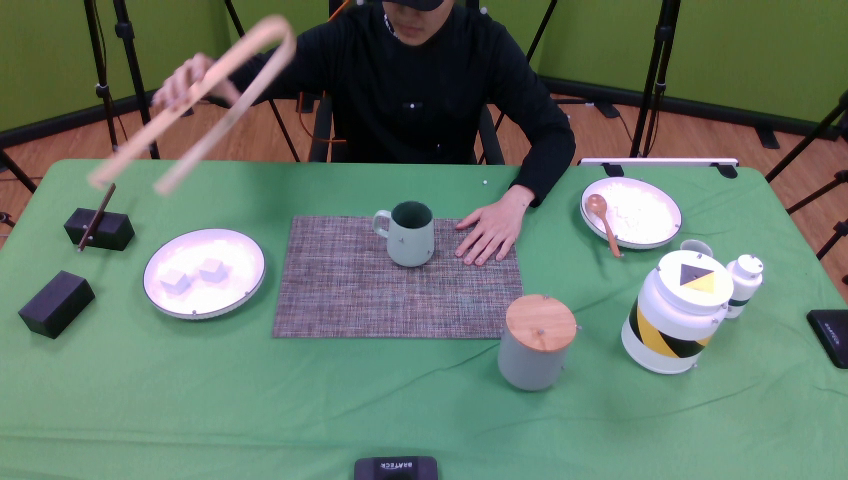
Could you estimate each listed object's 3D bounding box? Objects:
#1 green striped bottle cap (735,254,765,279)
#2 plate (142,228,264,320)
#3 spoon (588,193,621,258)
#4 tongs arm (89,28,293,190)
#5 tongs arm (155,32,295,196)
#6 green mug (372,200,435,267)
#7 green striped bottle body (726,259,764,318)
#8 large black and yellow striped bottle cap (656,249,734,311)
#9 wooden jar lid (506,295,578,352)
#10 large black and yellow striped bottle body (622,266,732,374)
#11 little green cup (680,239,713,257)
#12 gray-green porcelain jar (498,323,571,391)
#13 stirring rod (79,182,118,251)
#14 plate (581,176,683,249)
[{"bbox_3d":[0.566,0.046,1.051,0.044,0.020,0.044,0,45,0],"label":"green striped bottle cap"},{"bbox_3d":[-0.394,0.064,1.095,0.208,0.039,0.206,2,46,-2],"label":"plate"},{"bbox_3d":[0.367,-0.032,1.220,0.041,0.022,0.192,1,38,-1],"label":"spoon"},{"bbox_3d":[-0.353,-0.188,0.898,0.385,0.051,0.026,-34,74,18],"label":"tongs arm"},{"bbox_3d":[-0.324,-0.187,0.961,0.028,0.388,0.027,3,56,-57],"label":"tongs arm"},{"bbox_3d":[-0.040,-0.016,1.146,0.125,0.105,0.092,17,48,13],"label":"green mug"},{"bbox_3d":[0.563,0.081,1.089,0.063,0.120,0.063,2,46,-2],"label":"green striped bottle body"},{"bbox_3d":[0.419,0.061,0.938,0.115,0.019,0.114,2,47,-2],"label":"large black and yellow striped bottle cap"},{"bbox_3d":[0.179,0.130,0.925,0.108,0.021,0.107,2,43,-2],"label":"wooden jar lid"},{"bbox_3d":[0.415,0.119,0.997,0.131,0.185,0.130,2,46,-2],"label":"large black and yellow striped bottle body"},{"bbox_3d":[0.530,0.033,1.189,0.061,0.039,0.061,2,48,-3],"label":"little green cup"},{"bbox_3d":[0.176,0.172,0.971,0.106,0.127,0.105,2,46,-2],"label":"gray-green porcelain jar"},{"bbox_3d":[-0.605,-0.047,1.130,0.006,0.014,0.175,0,47,1],"label":"stirring rod"},{"bbox_3d":[0.430,-0.054,1.267,0.209,0.038,0.208,2,46,-2],"label":"plate"}]
